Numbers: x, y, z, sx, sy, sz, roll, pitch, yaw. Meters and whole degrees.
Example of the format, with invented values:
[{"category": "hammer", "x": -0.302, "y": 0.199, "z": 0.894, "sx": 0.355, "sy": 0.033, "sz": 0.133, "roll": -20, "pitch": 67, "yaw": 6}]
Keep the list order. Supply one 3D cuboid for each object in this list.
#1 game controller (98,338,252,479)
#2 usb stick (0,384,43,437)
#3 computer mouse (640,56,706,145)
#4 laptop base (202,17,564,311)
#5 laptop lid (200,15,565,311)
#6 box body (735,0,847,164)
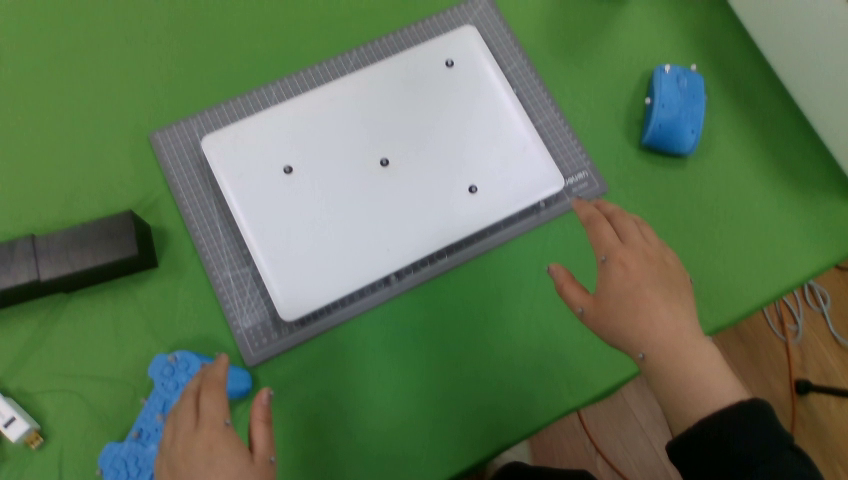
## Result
[{"category": "game controller", "x": -0.248, "y": 0.171, "z": 0.597, "sx": 0.097, "sy": 0.052, "sz": 0.154, "roll": 23, "pitch": 74, "yaw": 7}, {"category": "usb stick", "x": -0.404, "y": 0.171, "z": 0.598, "sx": 0.059, "sy": 0.027, "sz": 0.021, "roll": 42, "pitch": 68, "yaw": 2}, {"category": "computer mouse", "x": 0.297, "y": -0.169, "z": 0.716, "sx": 0.063, "sy": 0.041, "sz": 0.116, "roll": 15, "pitch": 70, "yaw": 5}, {"category": "laptop base", "x": -0.045, "y": -0.097, "z": 0.692, "sx": 0.354, "sy": 0.023, "sz": 0.234, "roll": -26, "pitch": 81, "yaw": -9}, {"category": "laptop lid", "x": -0.044, "y": -0.098, "z": 0.681, "sx": 0.357, "sy": 0.013, "sz": 0.240, "roll": -24, "pitch": 79, "yaw": -8}, {"category": "box body", "x": 0.551, "y": -0.270, "z": 0.690, "sx": 0.254, "sy": 0.161, "sz": 0.362, "roll": -24, "pitch": 77, "yaw": -8}]
